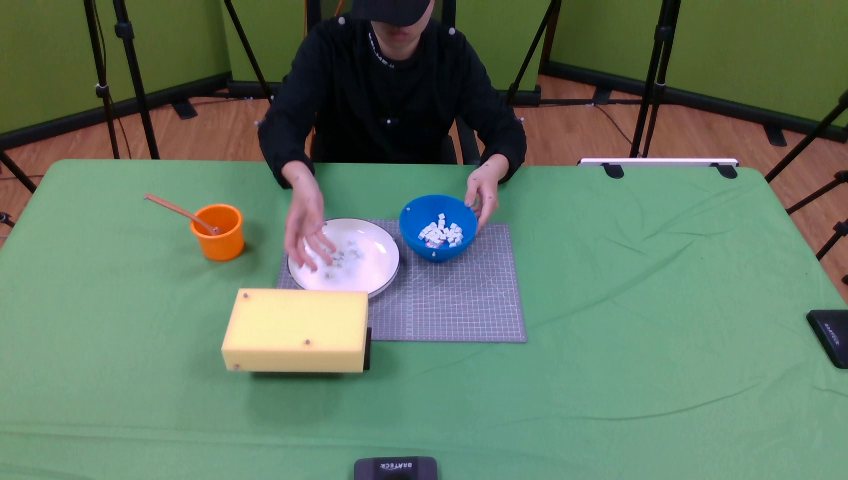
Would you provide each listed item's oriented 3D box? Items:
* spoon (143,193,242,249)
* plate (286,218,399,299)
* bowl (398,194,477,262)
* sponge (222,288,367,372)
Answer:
[{"bbox_3d":[-0.421,-0.036,1.112,0.021,0.195,0.041,-37,36,23],"label":"spoon"},{"bbox_3d":[-0.150,0.041,1.131,0.209,0.038,0.208,2,45,-2],"label":"plate"},{"bbox_3d":[0.023,-0.011,1.167,0.151,0.077,0.150,3,46,-2],"label":"bowl"},{"bbox_3d":[-0.196,0.141,0.952,0.207,0.061,0.117,1,46,-3],"label":"sponge"}]
